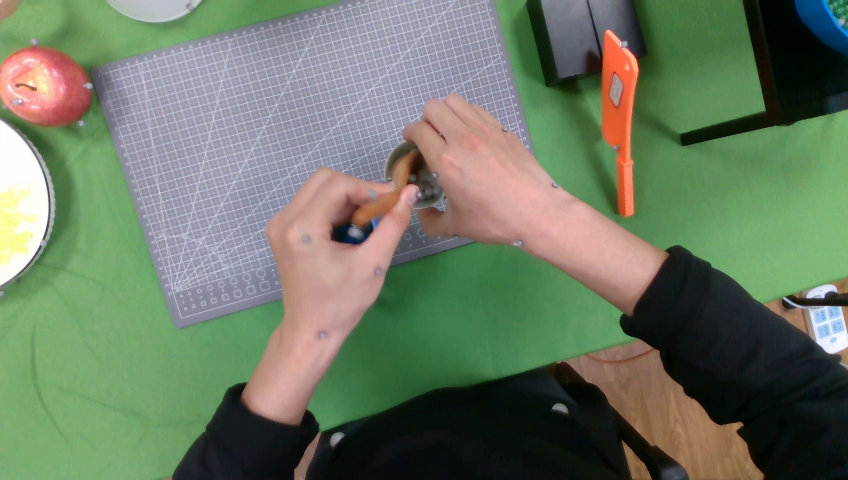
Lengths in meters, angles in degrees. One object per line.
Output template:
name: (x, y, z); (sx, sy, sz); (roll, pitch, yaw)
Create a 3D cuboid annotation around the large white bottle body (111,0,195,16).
large white bottle body: (-0.286, -0.301, 0.566); (0.131, 0.184, 0.130); (0, 93, -5)

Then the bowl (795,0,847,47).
bowl: (0.371, -0.226, 0.508); (0.151, 0.076, 0.151); (0, 94, -5)

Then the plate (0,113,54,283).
plate: (-0.497, -0.047, 0.639); (0.209, 0.038, 0.209); (0, 95, -5)

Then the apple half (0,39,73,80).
apple half: (-0.402, -0.184, 0.619); (0.081, 0.081, 0.033); (-31, 101, -2)

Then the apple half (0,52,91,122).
apple half: (-0.382, -0.150, 0.625); (0.081, 0.074, 0.053); (-31, 100, -6)

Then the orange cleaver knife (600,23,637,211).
orange cleaver knife: (0.214, -0.131, 0.676); (0.012, 0.076, 0.213); (-17, 126, -4)

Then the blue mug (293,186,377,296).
blue mug: (-0.089, 0.002, 0.646); (0.082, 0.105, 0.116); (-8, 95, -5)

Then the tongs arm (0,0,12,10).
tongs arm: (-0.599, -0.270, 0.580); (0.385, 0.026, 0.050); (12, 90, -4)

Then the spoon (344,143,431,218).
spoon: (-0.022, -0.044, 0.449); (0.021, 0.193, 0.042); (33, 110, -1)

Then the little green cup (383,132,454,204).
little green cup: (-0.002, -0.064, 0.536); (0.061, 0.038, 0.062); (3, 100, 15)
